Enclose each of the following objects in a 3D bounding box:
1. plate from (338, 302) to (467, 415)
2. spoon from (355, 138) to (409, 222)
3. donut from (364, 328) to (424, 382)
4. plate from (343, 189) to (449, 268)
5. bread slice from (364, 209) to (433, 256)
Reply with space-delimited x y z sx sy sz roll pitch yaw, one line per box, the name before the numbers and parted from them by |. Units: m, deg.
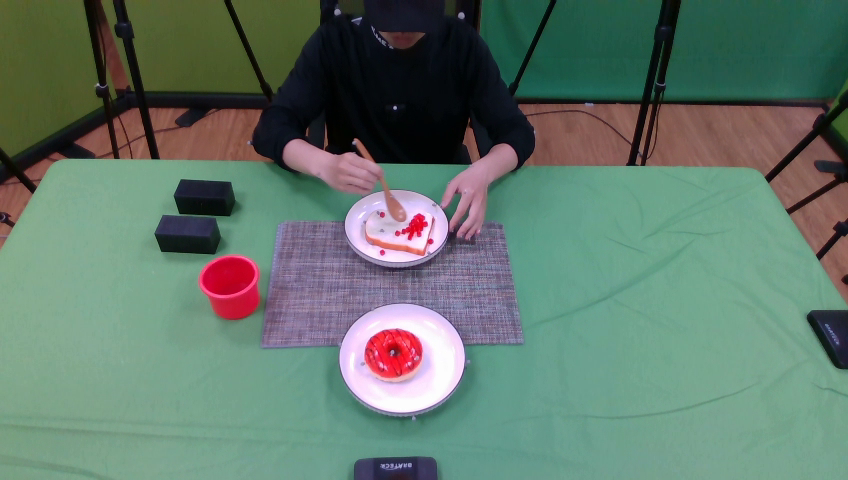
plate | -0.035 0.194 0.992 0.208 0.039 0.206 2 48 -2
spoon | -0.078 -0.112 1.138 0.021 0.195 0.041 -1 40 35
donut | -0.049 0.185 0.984 0.099 0.048 0.098 1 45 -1
plate | -0.055 -0.019 1.195 0.209 0.038 0.208 3 46 -3
bread slice | -0.053 -0.020 1.199 0.131 0.019 0.104 11 46 3
